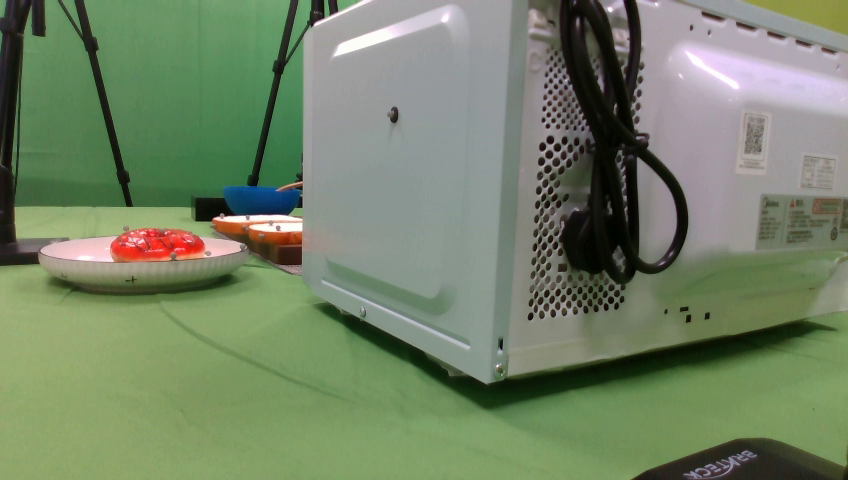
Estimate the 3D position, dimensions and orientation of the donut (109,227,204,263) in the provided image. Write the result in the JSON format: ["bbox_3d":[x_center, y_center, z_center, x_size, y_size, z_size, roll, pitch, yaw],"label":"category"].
[{"bbox_3d":[-0.298,0.012,0.679,0.099,0.048,0.099,4,10,0],"label":"donut"}]

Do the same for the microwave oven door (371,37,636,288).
[{"bbox_3d":[0.109,-0.080,0.686,0.358,0.243,0.039,-2,9,-33],"label":"microwave oven door"}]

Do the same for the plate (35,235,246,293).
[{"bbox_3d":[-0.305,0.026,0.668,0.208,0.039,0.207,2,7,0],"label":"plate"}]

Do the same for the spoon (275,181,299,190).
[{"bbox_3d":[-0.301,-0.102,1.260,0.041,0.021,0.194,13,30,33],"label":"spoon"}]

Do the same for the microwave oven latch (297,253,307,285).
[{"bbox_3d":[-0.082,0.027,0.582,0.079,0.029,0.030,-1,7,-32],"label":"microwave oven latch"}]

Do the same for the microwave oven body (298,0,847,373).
[{"bbox_3d":[0.151,-0.055,0.543,0.444,0.260,0.324,-1,8,-33],"label":"microwave oven body"}]

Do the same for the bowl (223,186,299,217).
[{"bbox_3d":[-0.330,-0.068,1.230,0.151,0.077,0.151,3,7,0],"label":"bowl"}]

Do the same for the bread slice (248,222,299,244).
[{"bbox_3d":[-0.174,-0.012,0.844,0.135,0.018,0.106,-6,10,-44],"label":"bread slice"}]

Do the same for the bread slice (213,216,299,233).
[{"bbox_3d":[-0.256,-0.026,0.936,0.132,0.019,0.104,-5,8,-40],"label":"bread slice"}]
